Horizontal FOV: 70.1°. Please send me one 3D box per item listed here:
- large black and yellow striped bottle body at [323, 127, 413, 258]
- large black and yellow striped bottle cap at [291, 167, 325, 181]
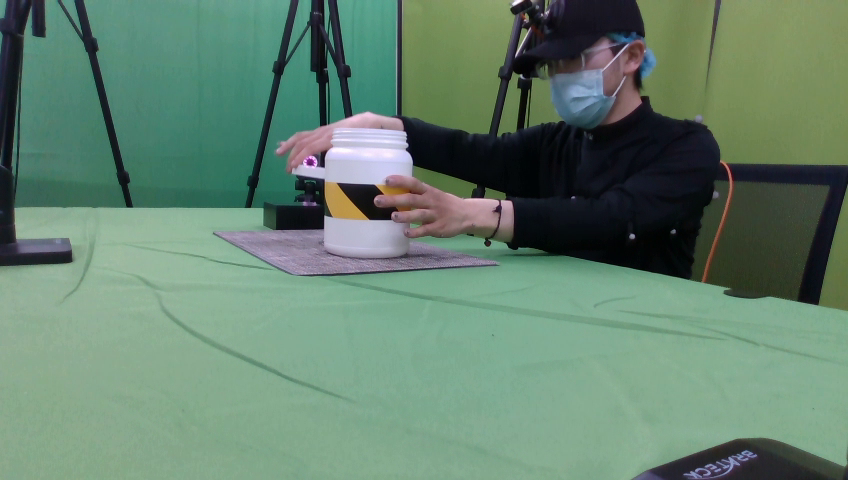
[{"bbox_3d":[-0.083,-0.073,0.899,0.131,0.184,0.130,2,8,0],"label":"large black and yellow striped bottle body"},{"bbox_3d":[-0.176,-0.114,1.070,0.115,0.019,0.115,7,6,0],"label":"large black and yellow striped bottle cap"}]
